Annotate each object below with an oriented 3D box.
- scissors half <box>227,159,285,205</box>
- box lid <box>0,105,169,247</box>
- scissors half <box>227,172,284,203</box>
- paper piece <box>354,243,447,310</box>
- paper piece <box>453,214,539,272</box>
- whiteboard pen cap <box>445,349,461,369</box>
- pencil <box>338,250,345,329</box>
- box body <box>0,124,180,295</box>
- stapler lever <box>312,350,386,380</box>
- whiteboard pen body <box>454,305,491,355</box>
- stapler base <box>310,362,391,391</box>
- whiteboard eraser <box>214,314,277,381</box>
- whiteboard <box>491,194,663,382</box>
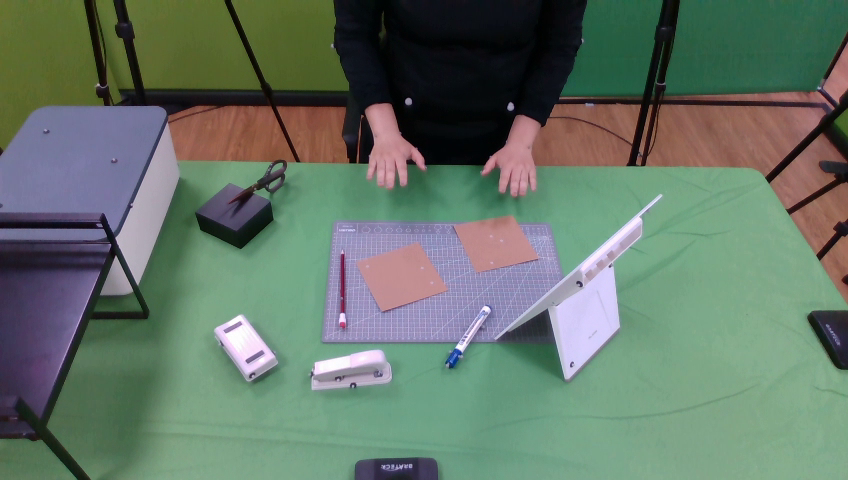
[{"bbox_3d":[-0.336,-0.117,1.218,0.013,0.040,0.175,26,47,13],"label":"scissors half"},{"bbox_3d":[-0.624,-0.125,1.067,0.263,0.015,0.369,0,46,-3],"label":"box lid"},{"bbox_3d":[-0.340,-0.101,1.230,0.013,0.040,0.175,22,28,17],"label":"scissors half"},{"bbox_3d":[-0.045,0.066,1.137,0.136,0.009,0.137,-13,47,-22],"label":"paper piece"},{"bbox_3d":[0.142,0.003,1.213,0.135,0.004,0.135,-11,47,-14],"label":"paper piece"},{"bbox_3d":[0.049,0.197,1.011,0.018,0.018,0.033,24,49,18],"label":"whiteboard pen cap"},{"bbox_3d":[-0.152,0.085,1.108,0.012,0.012,0.192,-2,44,-7],"label":"pencil"},{"bbox_3d":[-0.628,-0.075,1.122,0.254,0.161,0.361,1,46,-4],"label":"box body"},{"bbox_3d":[-0.120,0.198,0.963,0.118,0.040,0.026,-4,44,-8],"label":"stapler lever"},{"bbox_3d":[0.079,0.163,1.047,0.017,0.017,0.140,25,50,19],"label":"whiteboard pen body"},{"bbox_3d":[-0.119,0.215,0.981,0.131,0.024,0.041,-5,44,-7],"label":"stapler base"},{"bbox_3d":[-0.292,0.176,0.990,0.055,0.042,0.112,-30,55,-30],"label":"whiteboard eraser"},{"bbox_3d":[0.280,0.100,0.969,0.217,0.306,0.143,-33,77,-31],"label":"whiteboard"}]
